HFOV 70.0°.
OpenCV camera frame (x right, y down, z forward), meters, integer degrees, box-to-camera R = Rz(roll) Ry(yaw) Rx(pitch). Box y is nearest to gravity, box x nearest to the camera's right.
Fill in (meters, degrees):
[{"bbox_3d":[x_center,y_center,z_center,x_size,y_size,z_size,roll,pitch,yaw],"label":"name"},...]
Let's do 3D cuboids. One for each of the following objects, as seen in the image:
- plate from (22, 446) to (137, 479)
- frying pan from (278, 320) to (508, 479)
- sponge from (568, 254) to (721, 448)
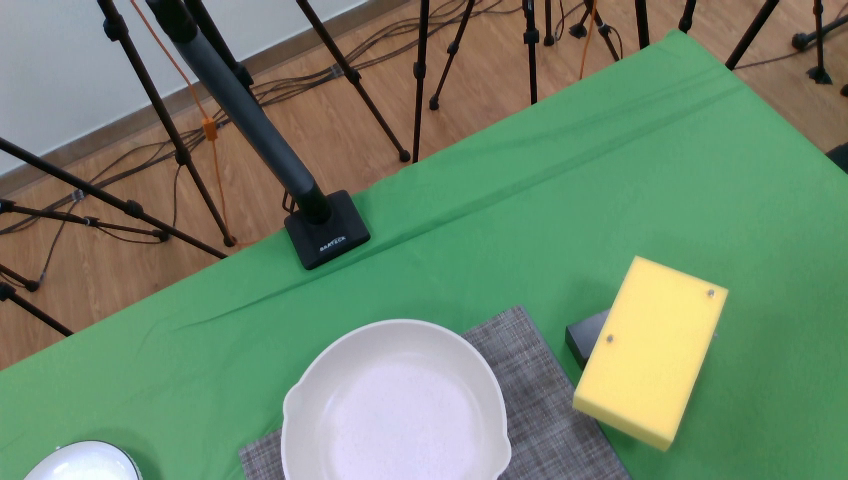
[{"bbox_3d":[-0.478,0.390,0.823,0.207,0.039,0.206,-4,60,8],"label":"plate"},{"bbox_3d":[-0.071,0.331,0.735,0.305,0.104,0.484,10,55,17],"label":"frying pan"},{"bbox_3d":[0.274,0.133,0.753,0.117,0.061,0.206,21,66,21],"label":"sponge"}]
